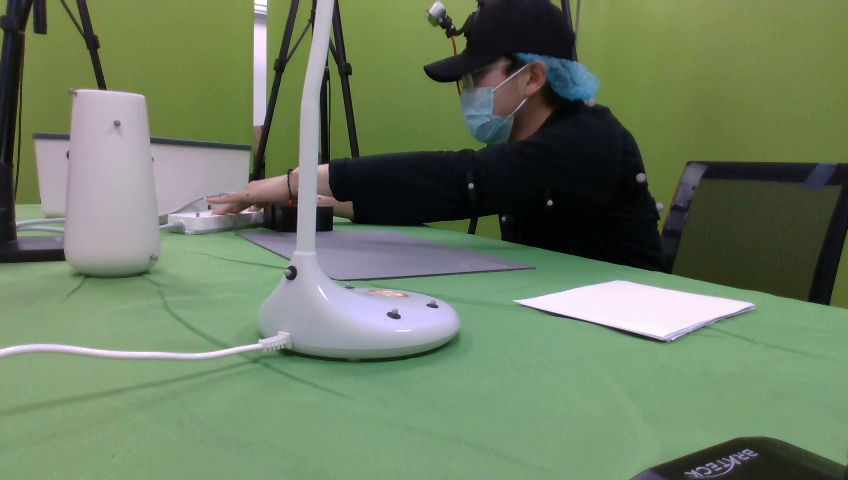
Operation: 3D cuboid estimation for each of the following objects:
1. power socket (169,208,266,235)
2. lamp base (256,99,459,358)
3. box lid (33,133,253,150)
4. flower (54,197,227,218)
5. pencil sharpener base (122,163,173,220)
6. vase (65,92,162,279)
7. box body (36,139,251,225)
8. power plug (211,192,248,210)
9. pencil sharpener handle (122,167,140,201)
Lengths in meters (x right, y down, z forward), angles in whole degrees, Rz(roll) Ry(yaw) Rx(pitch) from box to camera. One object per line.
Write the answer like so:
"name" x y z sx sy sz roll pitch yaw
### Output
"power socket" -0.379 -0.038 1.129 0.072 0.032 0.227 4 8 18
"lamp base" -0.055 -0.013 0.463 0.160 0.180 0.180 6 11 27
"box lid" -0.555 -0.199 1.249 0.263 0.015 0.372 5 8 15
"flower" -0.573 -0.058 1.266 0.044 0.038 0.364 36 21 33
"pencil sharpener base" -0.539 -0.095 1.174 0.076 0.107 0.061 4 7 21
"vase" -0.347 -0.060 0.673 0.098 0.200 0.098 1 7 0
"box body" -0.558 -0.126 1.257 0.253 0.160 0.365 4 8 15
"power plug" -0.384 -0.071 1.205 0.072 0.052 0.035 1 8 28
"pencil sharpener handle" -0.585 -0.111 1.193 0.030 0.068 0.036 4 14 21
